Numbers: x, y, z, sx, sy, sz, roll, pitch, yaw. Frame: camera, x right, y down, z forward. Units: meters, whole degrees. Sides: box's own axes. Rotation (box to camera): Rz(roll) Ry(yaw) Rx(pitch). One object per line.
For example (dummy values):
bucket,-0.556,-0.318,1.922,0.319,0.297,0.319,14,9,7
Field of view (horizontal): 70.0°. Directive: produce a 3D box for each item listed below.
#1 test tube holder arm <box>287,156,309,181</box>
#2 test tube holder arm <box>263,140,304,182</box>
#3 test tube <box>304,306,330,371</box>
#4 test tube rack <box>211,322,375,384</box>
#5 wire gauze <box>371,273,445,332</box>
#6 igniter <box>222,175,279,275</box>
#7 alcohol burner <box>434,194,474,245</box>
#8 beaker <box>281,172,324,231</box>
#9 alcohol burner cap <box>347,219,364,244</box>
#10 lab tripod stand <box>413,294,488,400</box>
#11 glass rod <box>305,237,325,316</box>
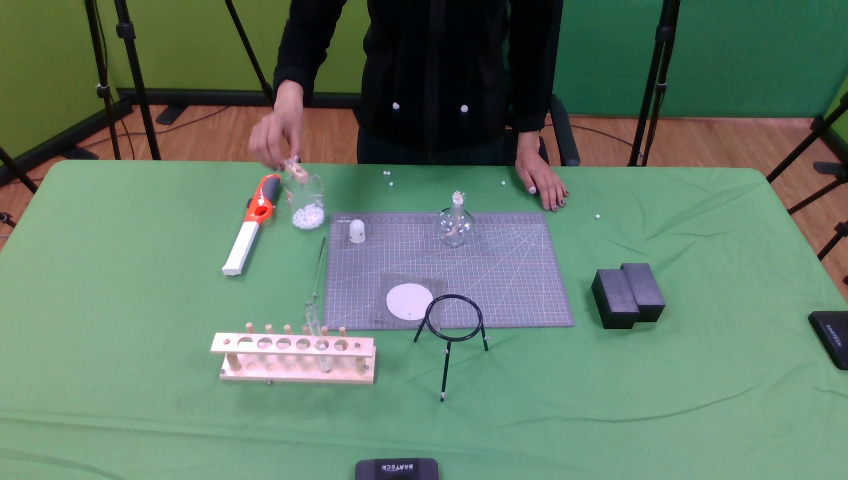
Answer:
test tube holder arm,-0.214,-0.120,1.009,0.010,0.015,0.087,-17,35,-29
test tube holder arm,-0.243,-0.138,1.038,0.013,0.015,0.177,-17,35,-29
test tube,-0.162,0.153,0.925,0.017,0.151,0.017,-2,44,2
test tube rack,-0.203,0.176,0.969,0.242,0.085,0.066,3,46,-2
wire gauze,-0.028,0.108,1.100,0.125,0.011,0.121,7,45,4
igniter,-0.341,-0.039,1.207,0.057,0.025,0.275,-1,45,9
alcohol burner,0.061,-0.046,1.183,0.078,0.119,0.077,3,47,-3
beaker,-0.234,-0.073,1.199,0.084,0.101,0.074,24,50,17
alcohol burner cap,-0.135,-0.019,1.190,0.034,0.048,0.033,2,45,-2
lab tripod stand,0.044,0.159,0.972,0.148,0.132,0.147,2,44,-2
glass rod,-0.203,0.064,1.132,0.008,0.008,0.198,3,43,0
